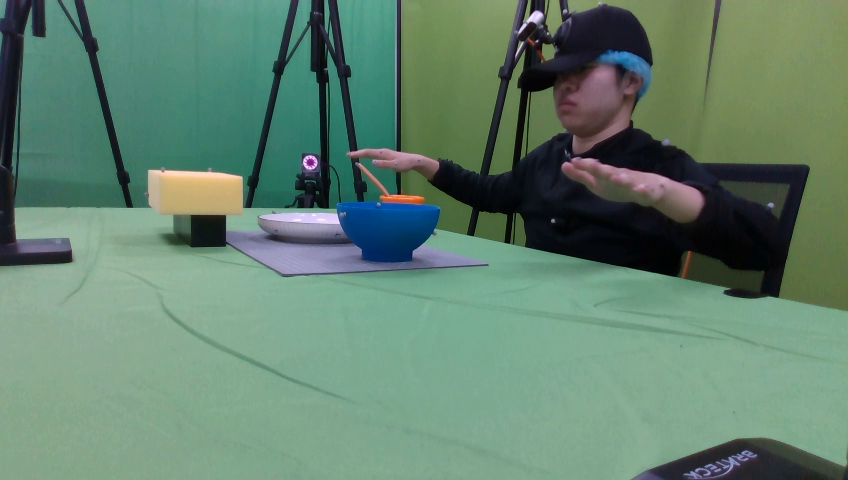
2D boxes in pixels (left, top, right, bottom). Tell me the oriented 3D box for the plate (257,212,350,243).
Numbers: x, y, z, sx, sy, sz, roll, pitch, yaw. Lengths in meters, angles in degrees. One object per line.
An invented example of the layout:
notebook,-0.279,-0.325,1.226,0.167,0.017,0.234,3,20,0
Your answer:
plate,-0.189,-0.023,1.072,0.209,0.038,0.209,3,7,0

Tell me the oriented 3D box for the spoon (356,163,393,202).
spoon,-0.079,-0.090,1.233,0.021,0.193,0.042,-44,-16,26

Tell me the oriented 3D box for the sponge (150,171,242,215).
sponge,-0.379,-0.079,0.994,0.119,0.061,0.206,-1,8,-29

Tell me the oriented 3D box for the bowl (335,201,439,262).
bowl,-0.054,-0.012,0.871,0.151,0.077,0.151,3,8,0
